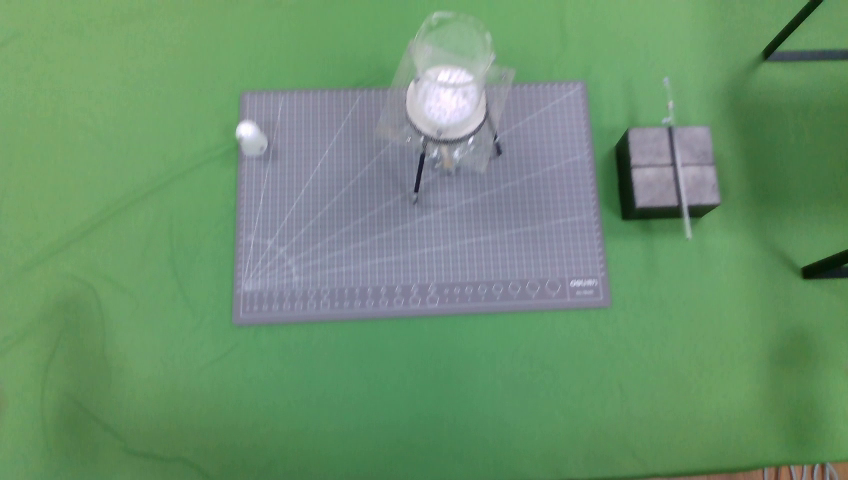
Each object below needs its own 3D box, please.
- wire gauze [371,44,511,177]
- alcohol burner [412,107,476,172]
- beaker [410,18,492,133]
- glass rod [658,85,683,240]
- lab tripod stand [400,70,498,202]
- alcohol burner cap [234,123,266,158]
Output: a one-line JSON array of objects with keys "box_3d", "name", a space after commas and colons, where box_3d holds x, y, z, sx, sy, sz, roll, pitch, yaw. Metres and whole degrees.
[{"box_3d": [0.020, -0.142, 0.646, 0.125, 0.011, 0.121, 19, 77, 1], "name": "wire gauze"}, {"box_3d": [0.025, -0.127, 0.720, 0.078, 0.119, 0.077, 1, 75, -3], "name": "alcohol burner"}, {"box_3d": [0.021, -0.159, 0.600, 0.074, 0.101, 0.083, -26, 76, -9], "name": "beaker"}, {"box_3d": [0.295, -0.095, 0.726, 0.008, 0.008, 0.198, -1, 76, -1], "name": "glass rod"}, {"box_3d": [0.023, -0.127, 0.709, 0.148, 0.132, 0.147, 1, 73, -2], "name": "lab tripod stand"}, {"box_3d": [-0.217, -0.125, 0.750, 0.034, 0.048, 0.033, 0, 74, 1], "name": "alcohol burner cap"}]
